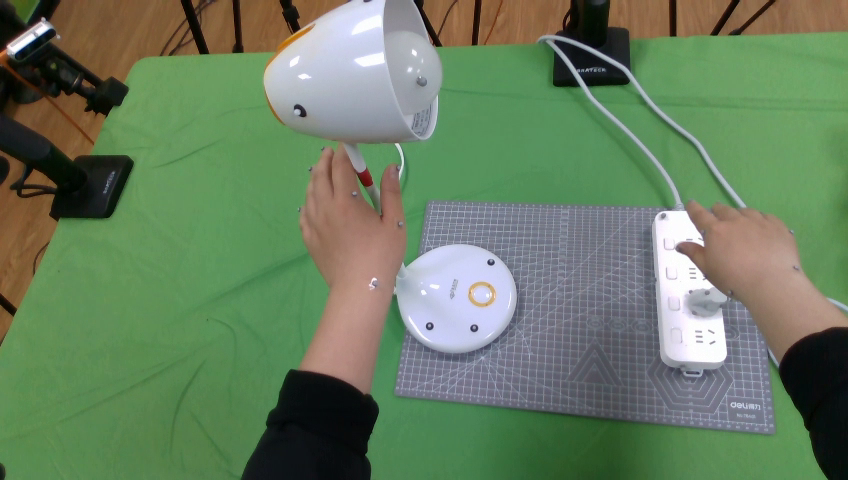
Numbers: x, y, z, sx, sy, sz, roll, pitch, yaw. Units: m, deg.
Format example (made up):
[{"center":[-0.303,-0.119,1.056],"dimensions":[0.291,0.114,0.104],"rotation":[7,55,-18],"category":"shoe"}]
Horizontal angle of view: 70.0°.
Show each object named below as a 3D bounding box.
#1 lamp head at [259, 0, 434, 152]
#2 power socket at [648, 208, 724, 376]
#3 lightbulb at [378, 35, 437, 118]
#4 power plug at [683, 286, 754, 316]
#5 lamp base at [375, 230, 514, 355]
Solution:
[{"center":[-0.062,-0.119,0.475],"dimensions":[0.122,0.113,0.111],"rotation":[-10,58,24],"category":"lamp head"},{"center":[0.329,0.057,0.768],"dimensions":[0.072,0.033,0.225],"rotation":[1,61,11],"category":"power socket"},{"center":[-0.042,-0.121,0.460],"dimensions":[0.107,0.060,0.059],"rotation":[1,61,21],"category":"lightbulb"},{"center":[0.352,0.078,0.731],"dimensions":[0.072,0.053,0.035],"rotation":[12,65,14],"category":"power plug"},{"center":[0.015,0.041,0.753],"dimensions":[0.179,0.182,0.159],"rotation":[-4,60,12],"category":"lamp base"}]
